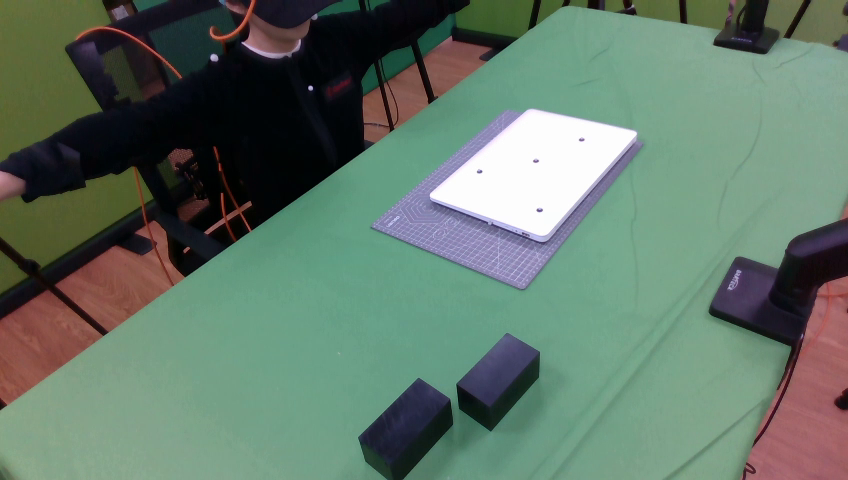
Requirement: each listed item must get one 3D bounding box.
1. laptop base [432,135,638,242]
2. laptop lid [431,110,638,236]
[{"bbox_3d":[0.208,-0.129,1.098,0.233,0.023,0.355,20,47,33],"label":"laptop base"},{"bbox_3d":[0.205,-0.138,1.092,0.239,0.013,0.358,23,49,34],"label":"laptop lid"}]
